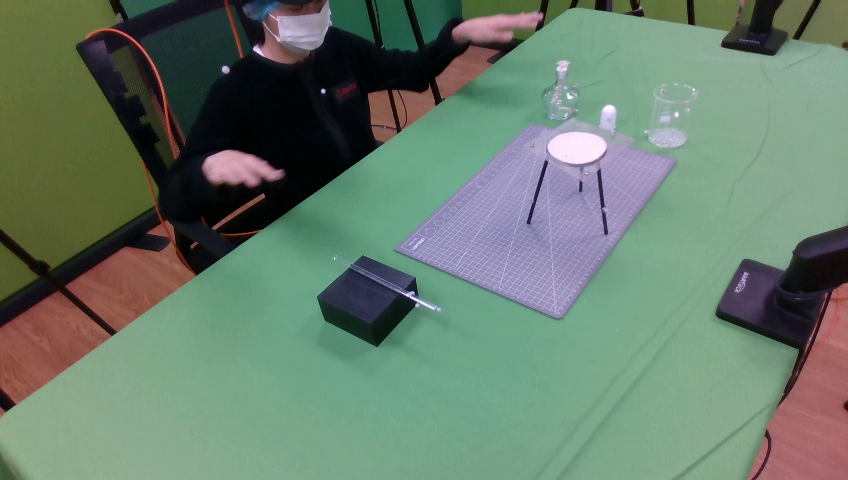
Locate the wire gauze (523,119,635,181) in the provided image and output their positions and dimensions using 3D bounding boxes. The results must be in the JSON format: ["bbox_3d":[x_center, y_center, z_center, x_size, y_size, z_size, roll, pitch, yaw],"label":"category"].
[{"bbox_3d":[0.233,-0.143,0.913,0.122,0.011,0.124,-32,45,-25],"label":"wire gauze"}]

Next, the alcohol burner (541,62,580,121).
[{"bbox_3d":[0.277,-0.302,1.222,0.078,0.119,0.077,-4,38,4],"label":"alcohol burner"}]

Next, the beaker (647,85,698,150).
[{"bbox_3d":[0.454,-0.224,1.110,0.084,0.101,0.073,-10,40,-4],"label":"beaker"}]

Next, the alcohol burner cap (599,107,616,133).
[{"bbox_3d":[0.361,-0.238,1.189,0.034,0.048,0.033,-4,40,4],"label":"alcohol burner cap"}]

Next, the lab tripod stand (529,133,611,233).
[{"bbox_3d":[0.236,-0.089,0.953,0.148,0.132,0.147,-5,42,5],"label":"lab tripod stand"}]

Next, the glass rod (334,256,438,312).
[{"bbox_3d":[-0.058,0.059,0.850,0.198,0.008,0.008,24,49,33],"label":"glass rod"}]
